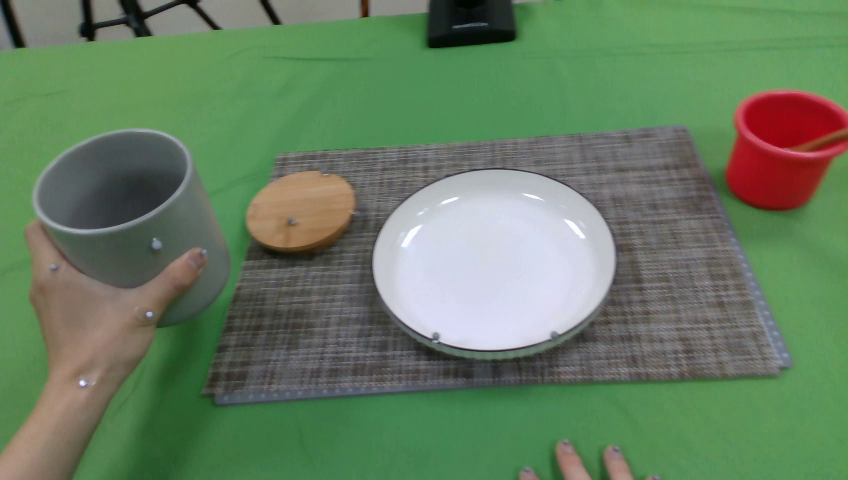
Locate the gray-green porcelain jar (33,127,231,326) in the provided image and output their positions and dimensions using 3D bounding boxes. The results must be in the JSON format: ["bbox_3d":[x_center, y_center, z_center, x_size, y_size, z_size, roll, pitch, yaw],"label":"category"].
[{"bbox_3d":[-0.211,-0.004,0.462,0.106,0.127,0.105,0,49,0],"label":"gray-green porcelain jar"}]

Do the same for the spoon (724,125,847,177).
[{"bbox_3d":[0.349,-0.086,0.514,0.041,0.022,0.193,-47,13,-29],"label":"spoon"}]

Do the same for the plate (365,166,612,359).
[{"bbox_3d":[0.055,0.018,0.528,0.207,0.039,0.205,-4,48,4],"label":"plate"}]

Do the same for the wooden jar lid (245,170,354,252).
[{"bbox_3d":[-0.123,-0.028,0.605,0.108,0.021,0.107,-3,47,4],"label":"wooden jar lid"}]
